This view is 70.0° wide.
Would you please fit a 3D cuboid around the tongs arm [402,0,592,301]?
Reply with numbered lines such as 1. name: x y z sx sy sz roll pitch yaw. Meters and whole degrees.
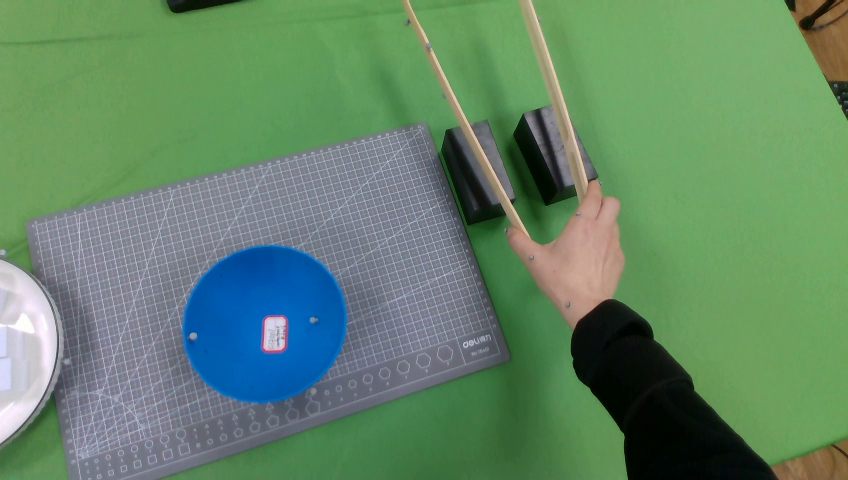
1. tongs arm: 0.071 -0.108 0.644 0.051 0.026 0.383 -20 78 -12

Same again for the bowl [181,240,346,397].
1. bowl: -0.152 0.082 0.602 0.151 0.077 0.150 2 73 -6

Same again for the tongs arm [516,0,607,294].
1. tongs arm: 0.139 -0.129 0.656 0.028 0.028 0.385 -9 76 -13

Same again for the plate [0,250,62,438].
1. plate: -0.456 0.107 0.586 0.208 0.039 0.206 1 74 -5
